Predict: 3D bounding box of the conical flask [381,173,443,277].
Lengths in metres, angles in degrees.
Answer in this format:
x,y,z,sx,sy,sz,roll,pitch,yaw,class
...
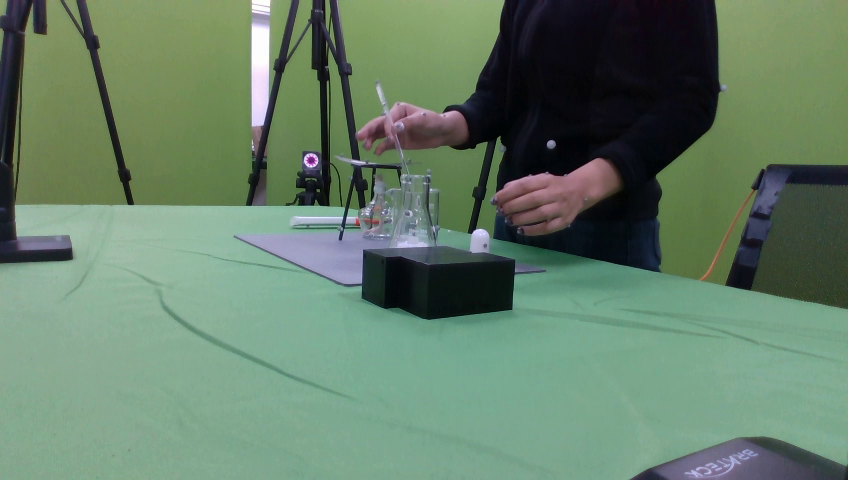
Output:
x,y,z,sx,sy,sz,roll,pitch,yaw,class
-0.012,-0.020,0.731,0.075,0.122,0.075,2,7,0,conical flask

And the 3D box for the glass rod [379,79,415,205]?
x,y,z,sx,sy,sz,roll,pitch,yaw,class
-0.040,-0.145,0.886,0.008,0.199,0.008,-14,-10,-2,glass rod

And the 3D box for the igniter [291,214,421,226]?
x,y,z,sx,sy,sz,roll,pitch,yaw,class
-0.135,-0.041,1.250,0.278,0.025,0.057,-1,-3,-28,igniter

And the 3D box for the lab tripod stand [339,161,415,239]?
x,y,z,sx,sy,sz,roll,pitch,yaw,class
-0.082,-0.070,1.059,0.148,0.131,0.148,4,6,0,lab tripod stand

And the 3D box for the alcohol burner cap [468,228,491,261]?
x,y,z,sx,sy,sz,roll,pitch,yaw,class
0.082,0.006,0.878,0.034,0.048,0.034,3,5,0,alcohol burner cap

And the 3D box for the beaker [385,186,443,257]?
x,y,z,sx,sy,sz,roll,pitch,yaw,class
-0.016,-0.028,0.886,0.084,0.100,0.074,1,7,-9,beaker

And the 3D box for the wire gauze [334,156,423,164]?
x,y,z,sx,sy,sz,roll,pitch,yaw,class
-0.081,-0.137,1.051,0.122,0.011,0.124,0,8,-30,wire gauze

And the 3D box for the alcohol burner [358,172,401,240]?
x,y,z,sx,sy,sz,roll,pitch,yaw,class
-0.077,-0.061,1.065,0.078,0.119,0.078,4,9,0,alcohol burner
